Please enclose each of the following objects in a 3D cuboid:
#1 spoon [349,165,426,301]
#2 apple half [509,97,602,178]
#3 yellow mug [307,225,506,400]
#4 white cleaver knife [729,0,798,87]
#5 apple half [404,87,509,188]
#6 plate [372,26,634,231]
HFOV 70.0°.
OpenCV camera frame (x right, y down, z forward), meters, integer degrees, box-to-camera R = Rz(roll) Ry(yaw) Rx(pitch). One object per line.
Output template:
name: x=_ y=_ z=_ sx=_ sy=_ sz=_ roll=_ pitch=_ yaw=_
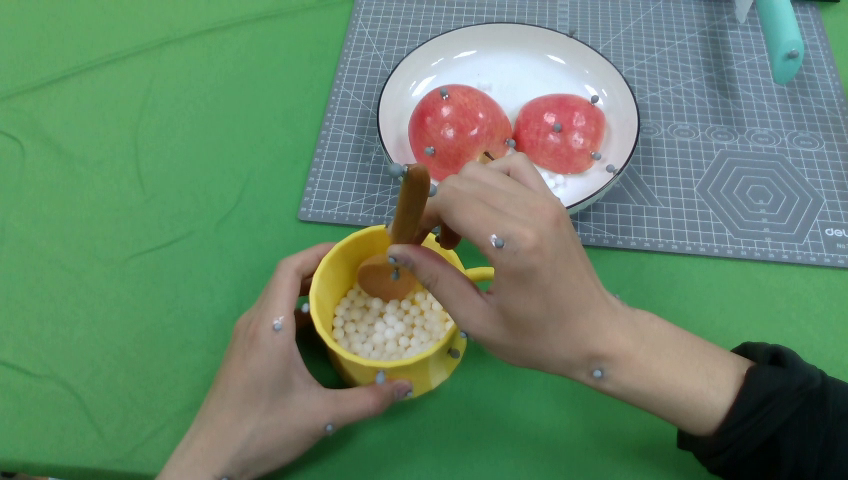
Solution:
spoon: x=-0.018 y=0.005 z=0.337 sx=0.042 sy=0.194 sz=0.021 roll=12 pitch=72 yaw=-6
apple half: x=0.106 y=-0.092 z=0.487 sx=0.081 sy=0.033 sz=0.080 roll=0 pitch=62 yaw=1
yellow mug: x=-0.007 y=0.045 z=0.403 sx=0.131 sy=0.064 sz=0.099 roll=-15 pitch=60 yaw=-8
white cleaver knife: x=0.300 y=-0.239 z=0.562 sx=0.021 sy=0.066 sz=0.284 roll=3 pitch=55 yaw=9
apple half: x=0.025 y=-0.089 z=0.476 sx=0.081 sy=0.054 sz=0.074 roll=-33 pitch=61 yaw=-17
plate: x=0.062 y=-0.092 z=0.496 sx=0.209 sy=0.038 sz=0.207 roll=0 pitch=59 yaw=1
